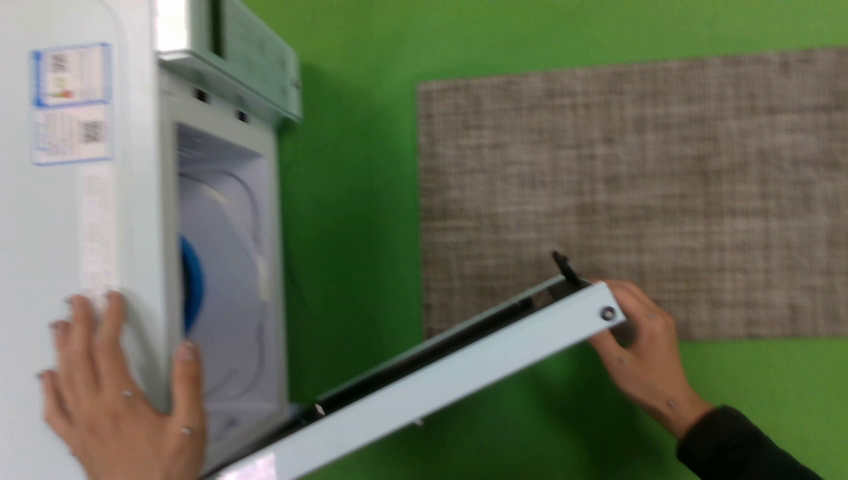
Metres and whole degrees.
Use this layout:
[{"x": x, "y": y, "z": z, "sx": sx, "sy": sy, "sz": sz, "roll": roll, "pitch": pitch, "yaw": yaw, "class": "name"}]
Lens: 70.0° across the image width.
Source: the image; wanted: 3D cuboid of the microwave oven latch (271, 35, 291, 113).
[{"x": -0.167, "y": -0.184, "z": 0.674, "sx": 0.030, "sy": 0.029, "sz": 0.079, "roll": -5, "pitch": 90, "yaw": 8, "class": "microwave oven latch"}]

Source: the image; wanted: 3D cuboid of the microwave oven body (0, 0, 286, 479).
[{"x": -0.314, "y": 0.004, "z": 0.599, "sx": 0.325, "sy": 0.260, "sz": 0.441, "roll": -5, "pitch": 90, "yaw": 8, "class": "microwave oven body"}]

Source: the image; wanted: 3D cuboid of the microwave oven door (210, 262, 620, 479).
[{"x": -0.006, "y": 0.121, "z": 0.549, "sx": 0.356, "sy": 0.244, "sz": 0.039, "roll": -29, "pitch": 85, "yaw": 8, "class": "microwave oven door"}]
